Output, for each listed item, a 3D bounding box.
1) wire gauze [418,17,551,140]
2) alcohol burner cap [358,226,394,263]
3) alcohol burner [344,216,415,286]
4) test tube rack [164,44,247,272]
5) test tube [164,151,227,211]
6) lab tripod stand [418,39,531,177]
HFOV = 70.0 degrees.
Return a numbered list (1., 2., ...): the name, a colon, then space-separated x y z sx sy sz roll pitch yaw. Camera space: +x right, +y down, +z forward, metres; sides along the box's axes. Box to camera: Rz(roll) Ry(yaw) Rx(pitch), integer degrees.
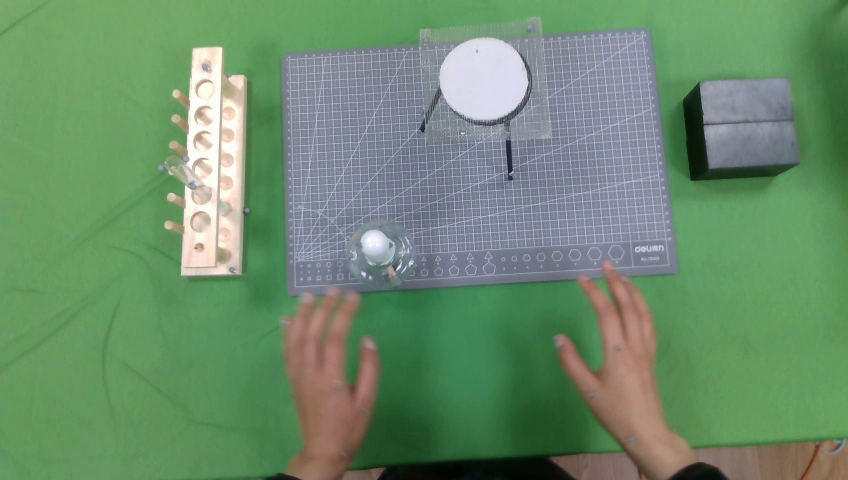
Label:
1. wire gauze: 0.058 -0.156 0.593 0.125 0.011 0.121 -3 82 1
2. alcohol burner cap: -0.050 0.003 0.613 0.034 0.048 0.033 -1 78 7
3. alcohol burner: -0.049 0.009 0.648 0.078 0.119 0.077 0 80 1
4. test tube rack: -0.250 -0.088 0.685 0.067 0.085 0.241 -1 81 2
5. test tube: -0.233 -0.057 0.630 0.017 0.151 0.017 0 76 -1
6. lab tripod stand: 0.064 -0.150 0.659 0.148 0.132 0.148 0 79 3
